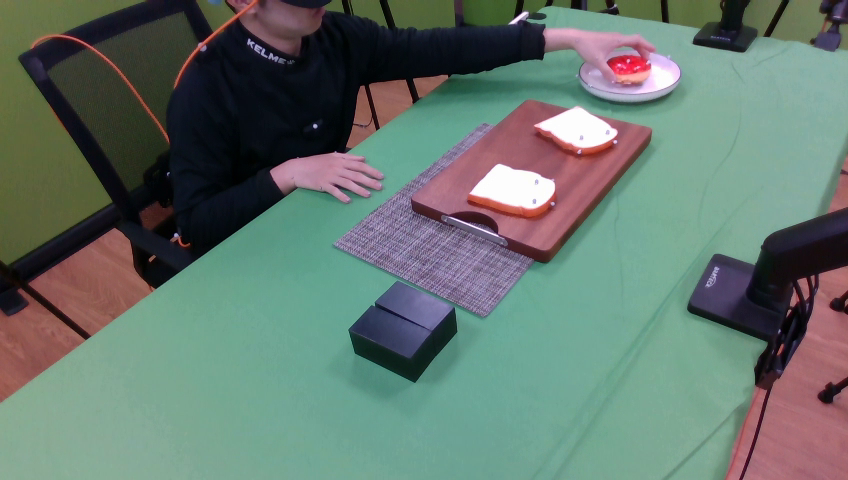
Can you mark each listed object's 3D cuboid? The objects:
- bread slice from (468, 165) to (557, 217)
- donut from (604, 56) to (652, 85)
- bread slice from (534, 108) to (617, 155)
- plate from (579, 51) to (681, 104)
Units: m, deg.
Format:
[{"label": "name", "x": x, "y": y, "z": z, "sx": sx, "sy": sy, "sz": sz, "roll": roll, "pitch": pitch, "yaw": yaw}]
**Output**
[{"label": "bread slice", "x": 0.154, "y": -0.083, "z": 1.003, "sx": 0.130, "sy": 0.019, "sz": 0.105, "roll": 18, "pitch": 48, "yaw": 29}, {"label": "donut", "x": 0.431, "y": -0.360, "z": 1.280, "sx": 0.099, "sy": 0.048, "sz": 0.098, "roll": -4, "pitch": 35, "yaw": 3}, {"label": "bread slice", "x": 0.289, "y": -0.200, "z": 1.121, "sx": 0.107, "sy": 0.018, "sz": 0.133, "roll": -27, "pitch": 43, "yaw": -21}, {"label": "plate", "x": 0.437, "y": -0.343, "z": 1.294, "sx": 0.209, "sy": 0.038, "sz": 0.208, "roll": -4, "pitch": 41, "yaw": 4}]
